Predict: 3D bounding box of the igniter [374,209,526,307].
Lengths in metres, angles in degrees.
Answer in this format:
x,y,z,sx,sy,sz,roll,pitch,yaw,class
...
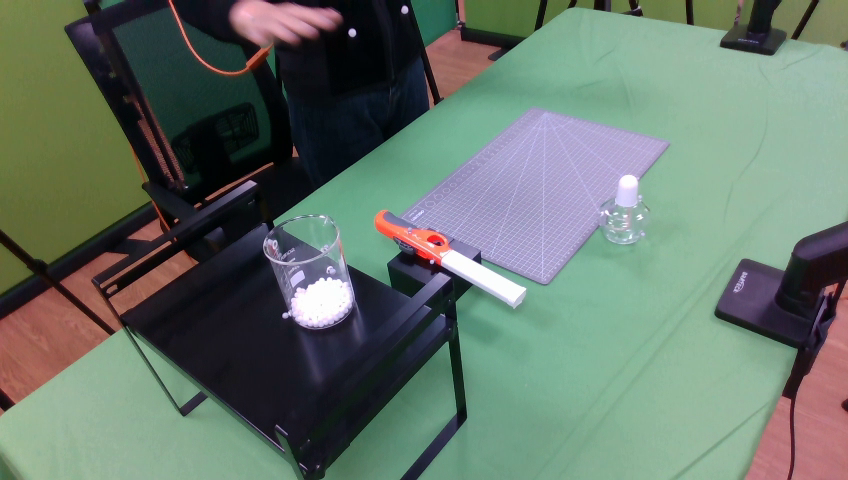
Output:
x,y,z,sx,sy,sz,roll,pitch,yaw,class
0.026,0.019,0.873,0.274,0.025,0.057,29,52,31,igniter

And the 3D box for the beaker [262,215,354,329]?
x,y,z,sx,sy,sz,roll,pitch,yaw,class
-0.112,0.034,0.616,0.073,0.101,0.084,13,44,23,beaker

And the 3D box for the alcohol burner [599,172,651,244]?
x,y,z,sx,sy,sz,roll,pitch,yaw,class
0.307,-0.052,0.920,0.078,0.119,0.077,-6,41,6,alcohol burner

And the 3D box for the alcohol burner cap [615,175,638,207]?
x,y,z,sx,sy,sz,roll,pitch,yaw,class
0.303,-0.076,0.901,0.034,0.048,0.033,-5,43,5,alcohol burner cap
